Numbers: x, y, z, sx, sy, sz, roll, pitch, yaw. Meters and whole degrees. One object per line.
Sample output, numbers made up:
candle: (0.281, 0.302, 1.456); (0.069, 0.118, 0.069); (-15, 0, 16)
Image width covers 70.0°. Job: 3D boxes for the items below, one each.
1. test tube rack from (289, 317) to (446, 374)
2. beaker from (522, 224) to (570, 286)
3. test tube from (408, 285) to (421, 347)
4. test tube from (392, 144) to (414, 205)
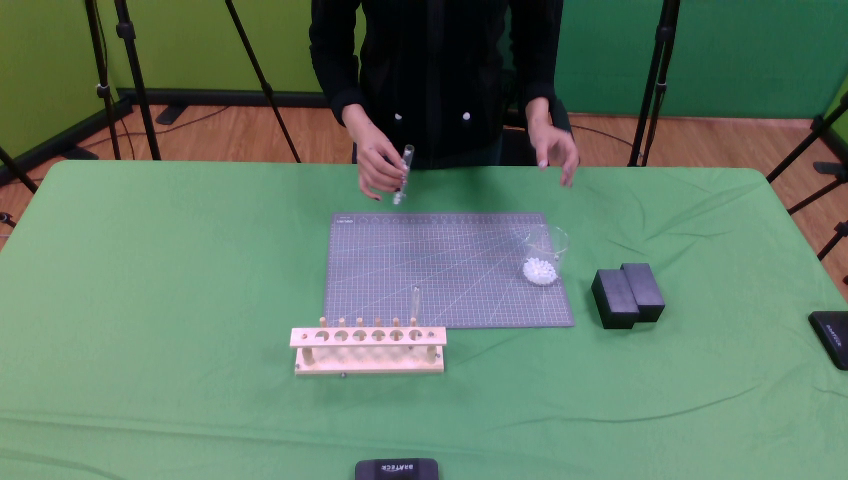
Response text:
test tube rack: (-0.089, 0.167, 0.988); (0.242, 0.085, 0.066); (0, 46, -4)
beaker: (0.221, 0.032, 1.129); (0.084, 0.101, 0.073); (-7, 46, -9)
test tube: (-0.016, 0.124, 0.973); (0.017, 0.151, 0.017); (3, 46, -2)
test tube: (-0.039, -0.114, 1.084); (0.017, 0.151, 0.017); (7, 52, -9)
